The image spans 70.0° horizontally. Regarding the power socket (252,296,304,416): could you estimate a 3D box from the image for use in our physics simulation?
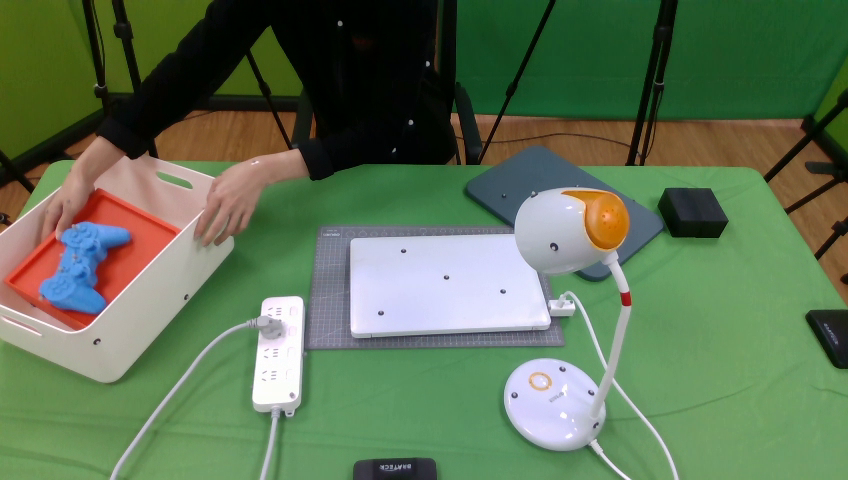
[{"bbox_3d":[-0.238,0.182,0.997,0.072,0.033,0.225,-3,47,-5],"label":"power socket"}]

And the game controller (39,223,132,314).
[{"bbox_3d":[-0.527,0.038,0.941,0.097,0.052,0.154,0,55,4],"label":"game controller"}]

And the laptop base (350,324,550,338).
[{"bbox_3d":[0.039,0.081,1.124,0.355,0.023,0.234,-2,43,-6],"label":"laptop base"}]

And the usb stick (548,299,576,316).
[{"bbox_3d":[0.239,0.121,1.083,0.059,0.027,0.021,-1,50,-2],"label":"usb stick"}]

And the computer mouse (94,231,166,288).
[{"bbox_3d":[-0.500,0.030,1.030,0.117,0.041,0.062,33,57,13],"label":"computer mouse"}]

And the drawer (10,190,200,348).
[{"bbox_3d":[-0.520,0.043,1.003,0.194,0.073,0.211,25,60,11],"label":"drawer"}]

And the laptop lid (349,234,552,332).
[{"bbox_3d":[0.040,0.071,1.117,0.357,0.013,0.240,0,44,-5],"label":"laptop lid"}]

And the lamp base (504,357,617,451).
[{"bbox_3d":[0.220,0.211,0.902,0.160,0.181,0.178,-32,59,-30],"label":"lamp base"}]

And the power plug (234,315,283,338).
[{"bbox_3d":[-0.269,0.143,1.000,0.072,0.053,0.035,5,47,2],"label":"power plug"}]

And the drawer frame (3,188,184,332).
[{"bbox_3d":[-0.521,0.044,1.000,0.201,0.083,0.213,24,58,12],"label":"drawer frame"}]

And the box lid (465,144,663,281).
[{"bbox_3d":[0.297,-0.072,1.298,0.263,0.015,0.369,-33,56,-31],"label":"box lid"}]

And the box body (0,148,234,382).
[{"bbox_3d":[-0.525,0.033,1.027,0.254,0.161,0.362,18,47,13],"label":"box body"}]

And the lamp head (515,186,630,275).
[{"bbox_3d":[0.188,-0.013,0.728,0.112,0.112,0.122,-25,9,-25],"label":"lamp head"}]
